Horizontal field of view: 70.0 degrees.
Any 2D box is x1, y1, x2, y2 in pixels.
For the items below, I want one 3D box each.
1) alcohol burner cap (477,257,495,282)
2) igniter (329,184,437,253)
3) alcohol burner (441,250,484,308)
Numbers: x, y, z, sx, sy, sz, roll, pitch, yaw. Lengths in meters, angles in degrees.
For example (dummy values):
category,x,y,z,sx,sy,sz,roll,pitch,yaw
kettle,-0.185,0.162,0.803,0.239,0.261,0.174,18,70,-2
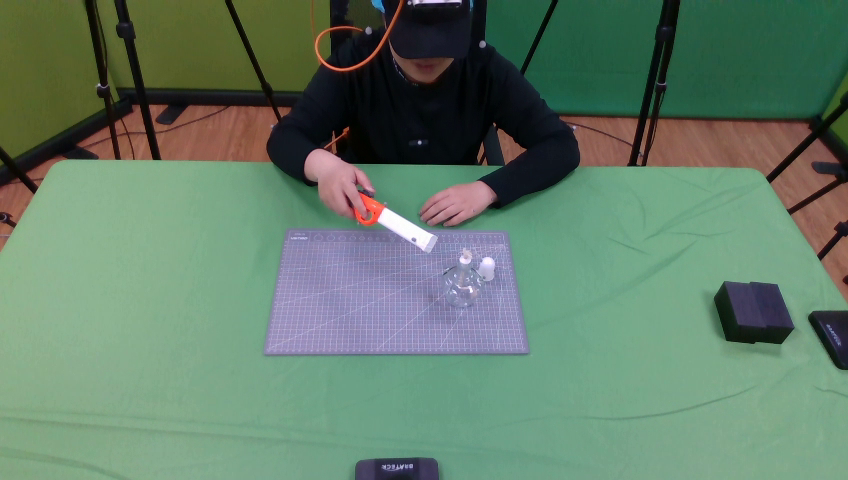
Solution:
category,x,y,z,sx,sy,sz,roll,pitch,yaw
alcohol burner cap,0.118,0.053,1.140,0.034,0.048,0.033,2,45,-2
igniter,-0.080,-0.045,1.065,0.275,0.025,0.057,29,92,40
alcohol burner,0.069,0.064,1.075,0.078,0.120,0.077,1,45,-1
